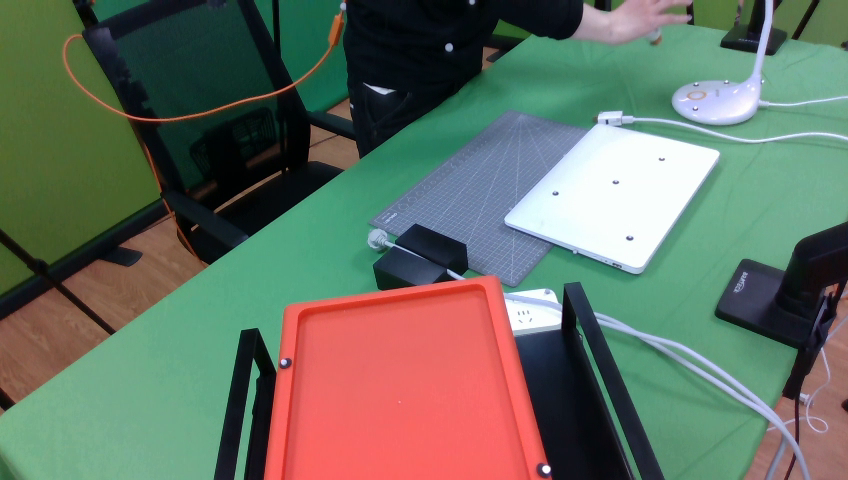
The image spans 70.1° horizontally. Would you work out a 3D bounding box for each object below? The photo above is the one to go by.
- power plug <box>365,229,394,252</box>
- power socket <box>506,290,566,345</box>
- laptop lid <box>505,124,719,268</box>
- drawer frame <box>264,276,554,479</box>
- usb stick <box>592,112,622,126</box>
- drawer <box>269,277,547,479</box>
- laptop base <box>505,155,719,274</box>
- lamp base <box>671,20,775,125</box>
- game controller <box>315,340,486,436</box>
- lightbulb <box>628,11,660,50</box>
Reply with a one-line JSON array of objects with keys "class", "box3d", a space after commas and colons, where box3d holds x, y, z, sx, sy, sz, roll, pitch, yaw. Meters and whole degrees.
[{"class": "power plug", "box3d": [-0.067, 0.010, 0.954, 0.035, 0.053, 0.072, -40, 52, 1]}, {"class": "power socket", "box3d": [0.081, 0.112, 0.822, 0.227, 0.033, 0.072, -7, 41, 0]}, {"class": "laptop lid", "box3d": [0.323, -0.093, 1.021, 0.240, 0.013, 0.358, 23, 49, 32]}, {"class": "drawer frame", "box3d": [-0.016, 0.137, 0.490, 0.202, 0.083, 0.212, -8, 41, -2]}, {"class": "usb stick", "box3d": [0.360, -0.239, 1.196, 0.059, 0.021, 0.027, 4, 42, 27]}, {"class": "drawer", "box3d": [-0.018, 0.137, 0.493, 0.195, 0.073, 0.210, -7, 41, -1]}, {"class": "laptop base", "box3d": [0.326, -0.083, 1.028, 0.233, 0.023, 0.355, 21, 48, 32]}, {"class": "lamp base", "box3d": [0.581, -0.332, 1.154, 0.179, 0.181, 0.160, 2, 41, 7]}, {"class": "game controller", "box3d": [-0.021, 0.119, 0.534, 0.155, 0.052, 0.096, -3, 39, 1]}, {"class": "lightbulb", "box3d": [0.454, -0.422, 1.232, 0.059, 0.108, 0.059, -15, 64, 33]}]
